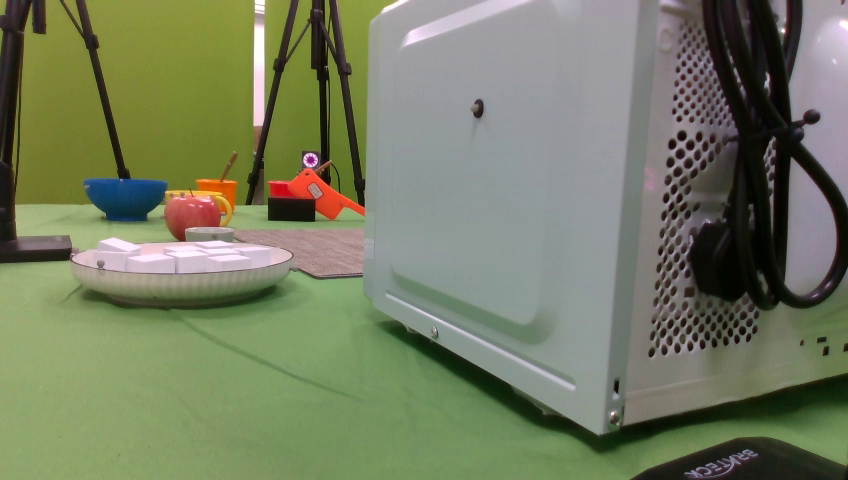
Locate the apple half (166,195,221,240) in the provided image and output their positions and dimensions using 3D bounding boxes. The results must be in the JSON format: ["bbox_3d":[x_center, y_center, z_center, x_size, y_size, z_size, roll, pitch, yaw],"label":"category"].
[{"bbox_3d":[-0.351,-0.032,0.935,0.081,0.074,0.053,1,11,-40],"label":"apple half"}]

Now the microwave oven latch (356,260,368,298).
[{"bbox_3d":[-0.020,0.033,0.530,0.079,0.029,0.030,0,7,-26],"label":"microwave oven latch"}]

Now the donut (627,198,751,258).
[{"bbox_3d":[0.226,-0.010,0.520,0.099,0.048,0.099,4,6,0],"label":"donut"}]

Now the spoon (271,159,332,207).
[{"bbox_3d":[-0.308,-0.142,1.514,0.193,0.021,0.041,-41,6,9],"label":"spoon"}]

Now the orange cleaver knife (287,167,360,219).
[{"bbox_3d":[-0.209,-0.089,1.383,0.212,0.077,0.012,31,4,-15],"label":"orange cleaver knife"}]

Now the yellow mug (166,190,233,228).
[{"bbox_3d":[-0.415,-0.057,1.132,0.130,0.064,0.100,6,8,16],"label":"yellow mug"}]

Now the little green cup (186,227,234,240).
[{"bbox_3d":[-0.284,0.005,0.805,0.061,0.038,0.061,2,8,0],"label":"little green cup"}]

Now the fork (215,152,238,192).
[{"bbox_3d":[-0.455,-0.132,1.367,0.028,0.018,0.207,-2,-35,-37],"label":"fork"}]

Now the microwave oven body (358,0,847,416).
[{"bbox_3d":[0.211,-0.047,0.475,0.444,0.260,0.324,-1,7,-28],"label":"microwave oven body"}]

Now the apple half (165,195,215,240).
[{"bbox_3d":[-0.377,-0.038,0.964,0.082,0.081,0.032,-4,15,-39],"label":"apple half"}]

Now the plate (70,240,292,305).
[{"bbox_3d":[-0.242,0.031,0.618,0.208,0.039,0.207,2,8,0],"label":"plate"}]

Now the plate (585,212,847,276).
[{"bbox_3d":[0.242,0.001,0.512,0.209,0.038,0.209,2,6,0],"label":"plate"}]

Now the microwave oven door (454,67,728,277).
[{"bbox_3d":[0.198,-0.095,0.804,0.354,0.243,0.039,8,10,37],"label":"microwave oven door"}]

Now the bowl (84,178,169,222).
[{"bbox_3d":[-0.584,-0.078,1.194,0.151,0.077,0.151,3,8,0],"label":"bowl"}]
